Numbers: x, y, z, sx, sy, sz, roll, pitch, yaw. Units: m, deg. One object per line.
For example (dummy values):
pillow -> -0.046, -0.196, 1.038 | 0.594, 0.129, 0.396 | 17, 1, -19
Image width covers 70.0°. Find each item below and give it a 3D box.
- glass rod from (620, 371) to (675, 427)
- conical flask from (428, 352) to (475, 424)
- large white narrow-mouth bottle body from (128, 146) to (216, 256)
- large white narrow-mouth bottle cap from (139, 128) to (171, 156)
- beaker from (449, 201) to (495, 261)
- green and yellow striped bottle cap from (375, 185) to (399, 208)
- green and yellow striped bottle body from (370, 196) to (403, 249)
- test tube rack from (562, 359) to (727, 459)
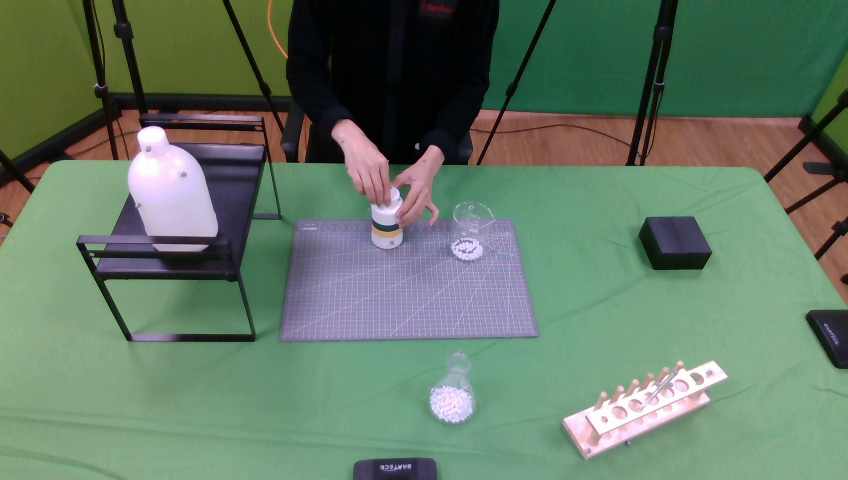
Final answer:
glass rod -> 0.316, 0.230, 0.863 | 0.008, 0.200, 0.008 | 3, 54, -3
conical flask -> 0.046, 0.220, 0.920 | 0.075, 0.122, 0.075 | 2, 46, -2
large white narrow-mouth bottle body -> -0.366, -0.073, 0.872 | 0.102, 0.195, 0.101 | 3, 47, -3
large white narrow-mouth bottle cap -> -0.358, -0.131, 0.808 | 0.038, 0.024, 0.037 | 3, 47, -3
beaker -> 0.089, -0.014, 1.161 | 0.084, 0.101, 0.073 | 9, 47, 4
green and yellow striped bottle cap -> -0.068, -0.081, 1.126 | 0.045, 0.020, 0.045 | 1, 44, -1
green and yellow striped bottle body -> -0.072, -0.045, 1.163 | 0.063, 0.120, 0.063 | 2, 46, -2
test tube rack -> 0.341, 0.247, 0.940 | 0.243, 0.085, 0.066 | -16, 49, -18
